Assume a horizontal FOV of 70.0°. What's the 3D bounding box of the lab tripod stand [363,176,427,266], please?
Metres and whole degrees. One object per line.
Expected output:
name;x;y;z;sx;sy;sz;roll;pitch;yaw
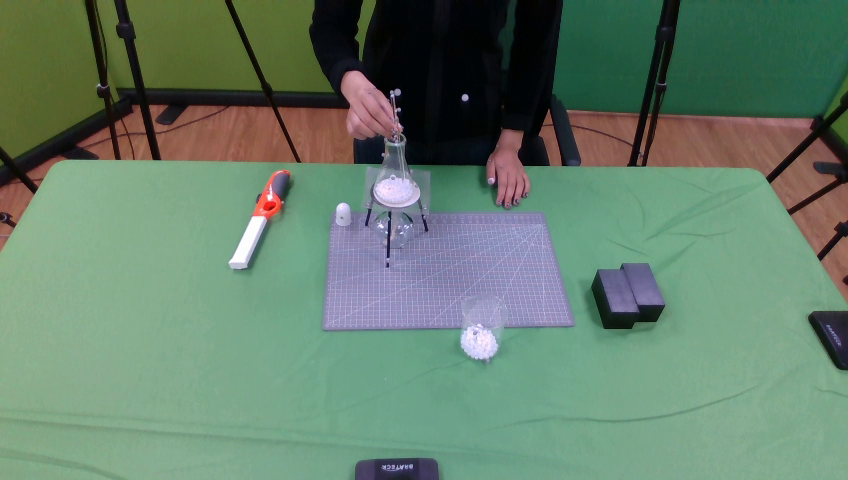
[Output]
lab tripod stand;-0.058;-0.047;1.159;0.148;0.132;0.147;3;44;-2

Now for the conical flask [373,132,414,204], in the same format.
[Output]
conical flask;-0.053;-0.130;1.066;0.075;0.122;0.075;2;45;-2

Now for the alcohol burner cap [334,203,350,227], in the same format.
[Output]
alcohol burner cap;-0.166;-0.053;1.221;0.034;0.048;0.033;2;46;-2

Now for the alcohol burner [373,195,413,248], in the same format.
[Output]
alcohol burner;-0.059;-0.041;1.167;0.078;0.119;0.077;4;46;-4

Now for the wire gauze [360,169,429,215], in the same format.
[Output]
wire gauze;-0.052;-0.092;1.112;0.125;0.011;0.120;3;43;1

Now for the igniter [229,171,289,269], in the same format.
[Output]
igniter;-0.328;-0.049;1.218;0.057;0.025;0.275;1;45;11

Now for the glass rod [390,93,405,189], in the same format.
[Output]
glass rod;-0.044;-0.163;1.031;0.008;0.201;0.008;-3;46;3

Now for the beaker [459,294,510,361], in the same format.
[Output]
beaker;0.095;0.147;1.012;0.083;0.101;0.074;26;49;21
